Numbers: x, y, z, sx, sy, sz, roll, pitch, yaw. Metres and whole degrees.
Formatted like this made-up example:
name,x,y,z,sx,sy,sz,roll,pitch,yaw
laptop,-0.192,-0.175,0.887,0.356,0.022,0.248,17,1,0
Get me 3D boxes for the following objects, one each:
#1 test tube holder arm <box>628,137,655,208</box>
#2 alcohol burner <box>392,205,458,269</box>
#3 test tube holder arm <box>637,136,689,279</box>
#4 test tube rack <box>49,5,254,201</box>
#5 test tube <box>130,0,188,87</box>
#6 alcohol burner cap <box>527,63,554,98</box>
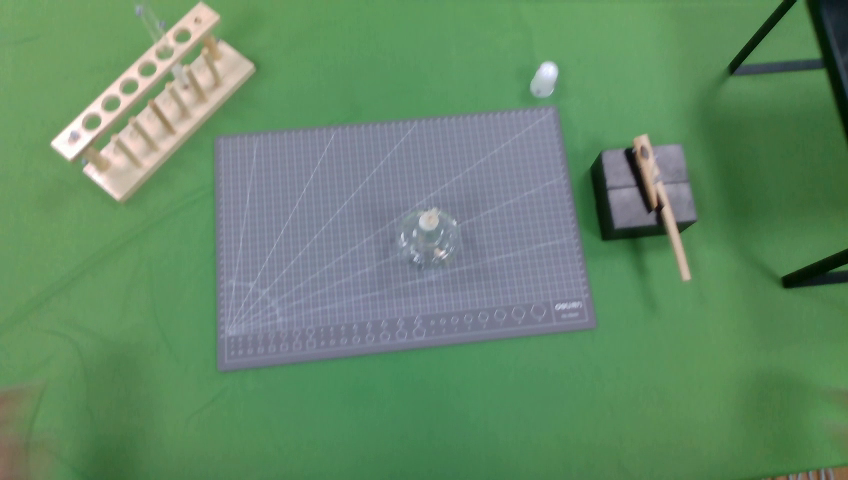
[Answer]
name,x,y,z,sx,sy,sz,roll,pitch,yaw
test tube holder arm,0.263,-0.080,0.727,0.010,0.015,0.087,-17,79,12
alcohol burner,0.002,-0.009,0.698,0.078,0.119,0.077,1,72,-2
test tube holder arm,0.281,-0.040,0.717,0.013,0.015,0.177,-19,78,11
test tube rack,-0.328,-0.169,0.751,0.066,0.085,0.242,38,76,10
test tube,-0.310,-0.230,0.718,0.017,0.151,0.017,1,70,-2
alcohol burner cap,0.156,-0.213,0.802,0.034,0.048,0.033,1,73,-1
